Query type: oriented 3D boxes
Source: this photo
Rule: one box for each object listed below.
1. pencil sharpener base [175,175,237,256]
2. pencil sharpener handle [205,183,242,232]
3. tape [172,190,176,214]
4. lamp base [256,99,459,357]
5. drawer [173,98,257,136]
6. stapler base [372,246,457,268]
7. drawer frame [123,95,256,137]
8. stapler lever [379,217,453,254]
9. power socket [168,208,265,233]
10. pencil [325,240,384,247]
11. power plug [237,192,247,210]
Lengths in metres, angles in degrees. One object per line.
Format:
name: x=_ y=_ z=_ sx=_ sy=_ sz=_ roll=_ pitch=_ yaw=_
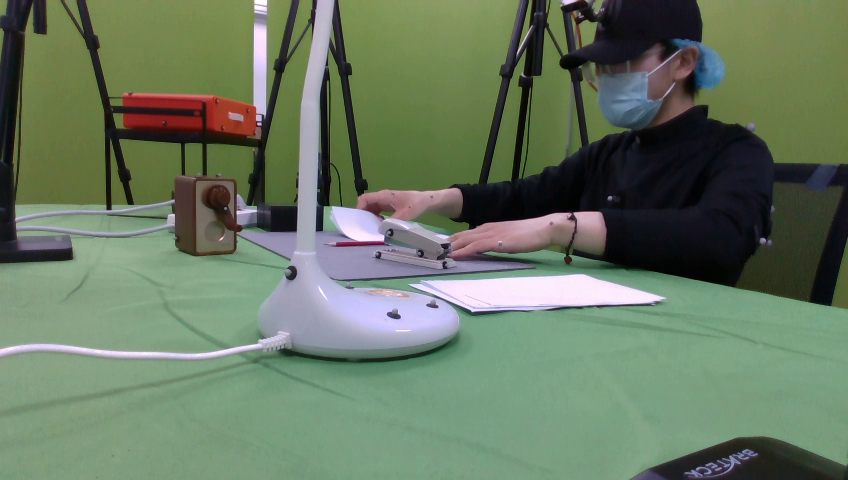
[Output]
pencil sharpener base: x=-0.304 y=-0.035 z=0.847 sx=0.062 sy=0.107 sz=0.076 roll=-4 pitch=10 yaw=-42
pencil sharpener handle: x=-0.265 y=-0.043 z=0.812 sx=0.036 sy=0.068 sz=0.030 roll=-32 pitch=28 yaw=-35
tape: x=-0.515 y=-0.087 z=1.388 sx=0.117 sy=0.052 sz=0.117 roll=3 pitch=7 yaw=0
lamp base: x=-0.055 y=-0.013 z=0.463 sx=0.160 sy=0.180 sz=0.180 roll=6 pitch=11 yaw=27
drawer: x=-0.518 y=-0.279 z=1.376 sx=0.211 sy=0.073 sz=0.195 roll=3 pitch=8 yaw=10
stapler base: x=-0.016 y=0.017 z=0.831 sx=0.130 sy=0.024 sz=0.041 roll=10 pitch=12 yaw=39
drawer frame: x=-0.524 y=-0.281 z=1.376 sx=0.213 sy=0.082 sz=0.202 roll=3 pitch=8 yaw=8
stapler lever: x=-0.014 y=-0.007 z=0.827 sx=0.117 sy=0.040 sz=0.027 roll=9 pitch=12 yaw=39
power socket: x=-0.381 y=-0.038 z=1.129 sx=0.072 sy=0.032 sz=0.227 roll=4 pitch=8 yaw=17
pencil: x=-0.066 y=0.003 z=0.979 sx=0.195 sy=0.012 sz=0.012 roll=-3 pitch=9 yaw=-25
power plug: x=-0.386 y=-0.071 z=1.204 sx=0.072 sy=0.052 sz=0.035 roll=7 pitch=8 yaw=26
